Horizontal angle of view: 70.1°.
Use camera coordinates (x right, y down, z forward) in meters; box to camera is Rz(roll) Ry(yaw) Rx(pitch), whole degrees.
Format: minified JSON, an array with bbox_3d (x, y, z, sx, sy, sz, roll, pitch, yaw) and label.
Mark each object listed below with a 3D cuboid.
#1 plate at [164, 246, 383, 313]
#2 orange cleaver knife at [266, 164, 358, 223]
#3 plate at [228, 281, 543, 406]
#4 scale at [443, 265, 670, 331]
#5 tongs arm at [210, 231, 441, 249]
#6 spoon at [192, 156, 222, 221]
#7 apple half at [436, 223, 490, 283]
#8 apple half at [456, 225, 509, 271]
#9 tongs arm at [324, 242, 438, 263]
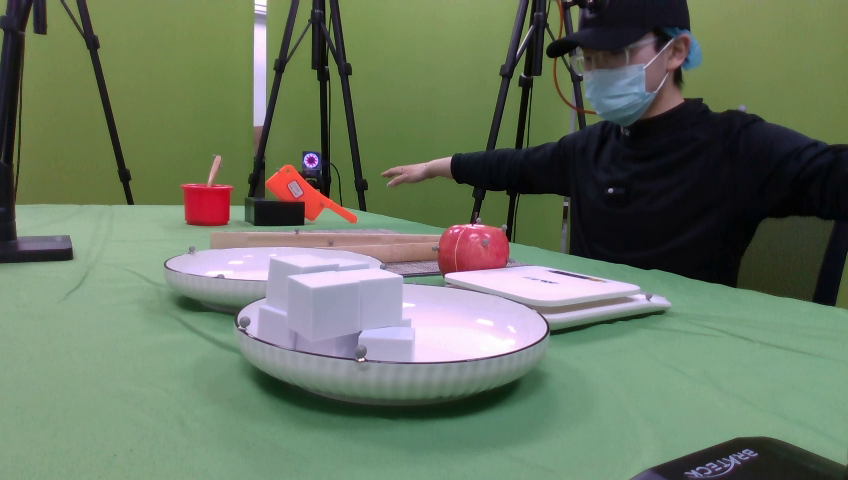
[{"bbox_3d":[-0.145,0.038,0.600,0.209,0.038,0.209,2,7,0],"label":"plate"},{"bbox_3d":[-0.238,-0.082,1.295,0.212,0.077,0.012,35,-9,-26],"label":"orange cleaver knife"},{"bbox_3d":[-0.025,0.067,0.413,0.208,0.039,0.207,3,7,0],"label":"plate"},{"bbox_3d":[0.131,0.052,0.602,0.202,0.031,0.148,-2,9,-37],"label":"scale"},{"bbox_3d":[-0.106,0.004,0.876,0.386,0.026,0.050,0,7,-20],"label":"tongs arm"},{"bbox_3d":[-0.430,-0.108,1.222,0.041,0.021,0.193,-1,52,0],"label":"spoon"},{"bbox_3d":[0.045,0.017,0.691,0.081,0.074,0.053,-9,10,-41],"label":"apple half"},{"bbox_3d":[0.071,0.021,0.662,0.082,0.081,0.032,-4,7,-42],"label":"apple half"},{"bbox_3d":[-0.070,0.017,0.800,0.390,0.028,0.028,-2,5,-34],"label":"tongs arm"}]
